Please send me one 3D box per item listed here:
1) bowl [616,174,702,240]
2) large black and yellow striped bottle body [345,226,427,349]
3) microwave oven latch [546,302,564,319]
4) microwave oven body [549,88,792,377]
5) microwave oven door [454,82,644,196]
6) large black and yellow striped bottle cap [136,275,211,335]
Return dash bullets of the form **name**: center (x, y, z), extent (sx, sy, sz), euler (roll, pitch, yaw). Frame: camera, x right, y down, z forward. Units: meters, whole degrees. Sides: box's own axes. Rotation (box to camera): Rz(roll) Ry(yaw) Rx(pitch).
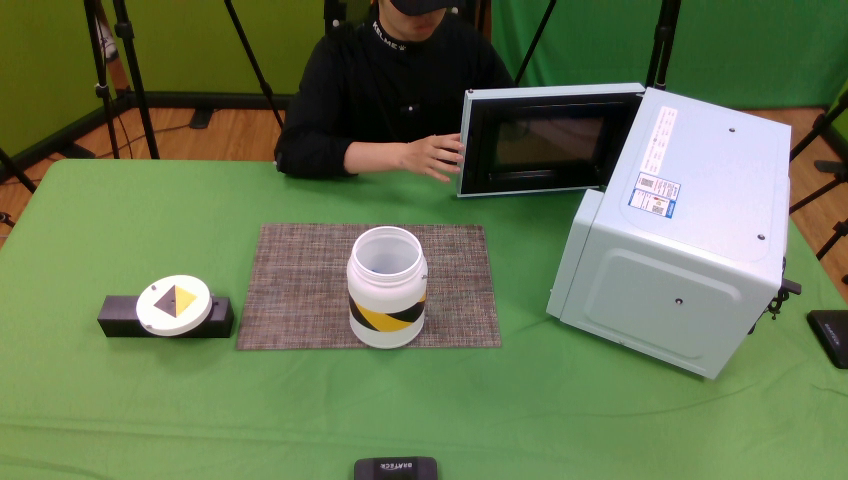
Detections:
- **bowl**: center (0.436, -0.053, 1.142), extent (0.151, 0.077, 0.150), euler (-3, 37, 2)
- **large black and yellow striped bottle body**: center (-0.062, 0.078, 0.998), extent (0.131, 0.185, 0.130), euler (2, 46, -2)
- **microwave oven latch**: center (0.242, 0.102, 1.081), extent (0.030, 0.029, 0.079), euler (21, 48, 17)
- **microwave oven body**: center (0.456, -0.028, 1.088), extent (0.325, 0.261, 0.440), euler (20, 47, 16)
- **microwave oven door**: center (0.247, -0.202, 1.233), extent (0.356, 0.245, 0.039), euler (-5, 47, -8)
- **large black and yellow striped bottle cap**: center (-0.412, 0.105, 0.999), extent (0.115, 0.019, 0.114), euler (3, 46, -3)
